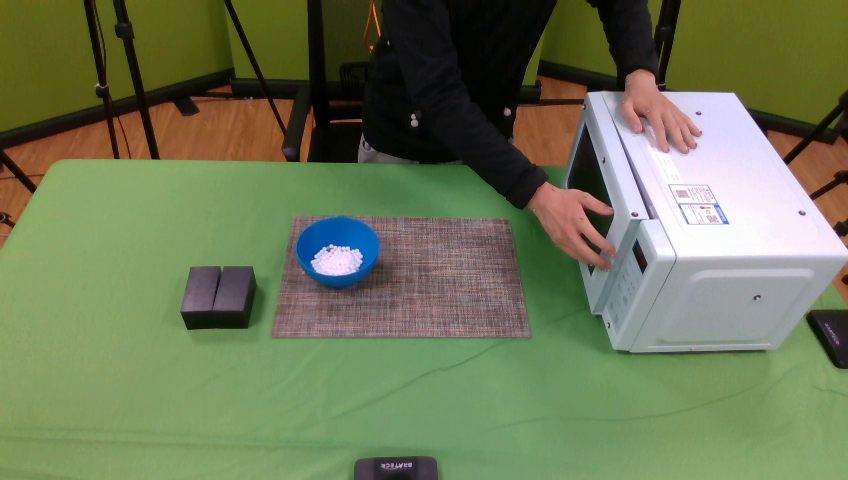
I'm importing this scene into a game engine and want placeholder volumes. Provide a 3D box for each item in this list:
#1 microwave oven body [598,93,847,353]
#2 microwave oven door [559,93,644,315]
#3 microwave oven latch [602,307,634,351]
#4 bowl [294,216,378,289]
[{"bbox_3d":[0.475,-0.041,1.109,0.326,0.261,0.438,-1,45,-4],"label":"microwave oven body"},{"bbox_3d":[0.318,-0.074,1.122,0.039,0.245,0.353,2,46,-3],"label":"microwave oven door"},{"bbox_3d":[0.332,0.153,1.044,0.030,0.029,0.078,0,45,-4],"label":"microwave oven latch"},{"bbox_3d":[-0.158,0.036,1.110,0.151,0.077,0.150,3,45,-2],"label":"bowl"}]
